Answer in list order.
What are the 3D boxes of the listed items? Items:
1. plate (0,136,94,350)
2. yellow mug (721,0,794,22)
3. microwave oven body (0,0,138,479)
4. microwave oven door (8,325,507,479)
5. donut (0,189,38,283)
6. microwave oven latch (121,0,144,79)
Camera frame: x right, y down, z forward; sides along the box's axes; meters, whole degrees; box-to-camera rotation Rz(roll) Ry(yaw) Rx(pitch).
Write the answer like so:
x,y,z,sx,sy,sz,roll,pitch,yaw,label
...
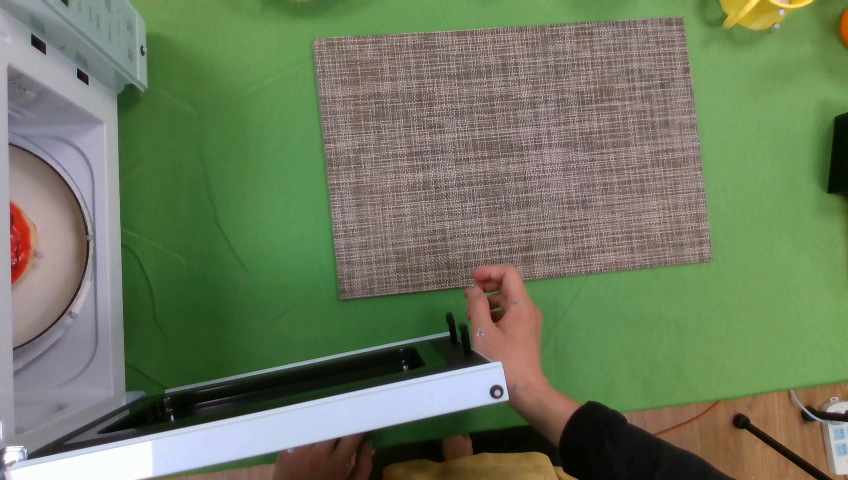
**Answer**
x,y,z,sx,sy,sz,roll,pitch,yaw,label
-0.423,0.004,0.579,0.209,0.038,0.209,0,88,-6,plate
0.404,-0.312,0.724,0.100,0.064,0.131,42,85,-3,yellow mug
-0.443,-0.035,0.526,0.326,0.260,0.441,-3,89,-6,microwave oven body
-0.122,0.138,0.548,0.356,0.243,0.039,-11,88,-6,microwave oven door
-0.418,-0.004,0.570,0.099,0.048,0.099,0,93,-3,donut
-0.315,-0.214,0.642,0.030,0.029,0.079,-1,89,-6,microwave oven latch
